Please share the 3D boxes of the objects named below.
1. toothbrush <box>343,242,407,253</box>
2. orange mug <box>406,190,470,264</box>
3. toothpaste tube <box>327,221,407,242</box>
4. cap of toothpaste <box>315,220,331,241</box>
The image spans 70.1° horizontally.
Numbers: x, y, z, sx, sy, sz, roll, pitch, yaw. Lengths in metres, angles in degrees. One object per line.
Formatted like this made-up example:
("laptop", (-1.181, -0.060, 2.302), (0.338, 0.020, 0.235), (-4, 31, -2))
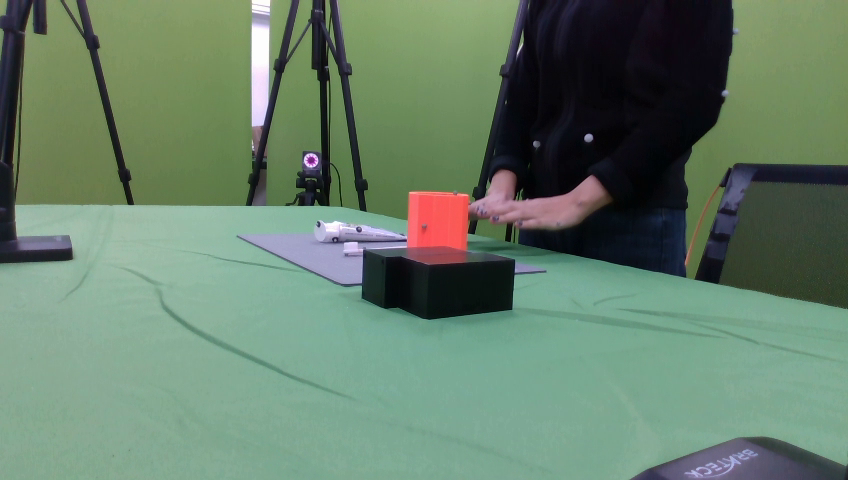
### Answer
("toothbrush", (-0.040, 0.010, 0.905), (0.183, 0.016, 0.014), (-1, -7, -36))
("orange mug", (0.027, -0.023, 0.866), (0.083, 0.101, 0.126), (6, 12, 24))
("toothpaste tube", (-0.095, -0.012, 1.026), (0.166, 0.034, 0.055), (2, 13, -33))
("cap of toothpaste", (-0.164, -0.016, 0.982), (0.011, 0.037, 0.037), (-8, 12, -43))
